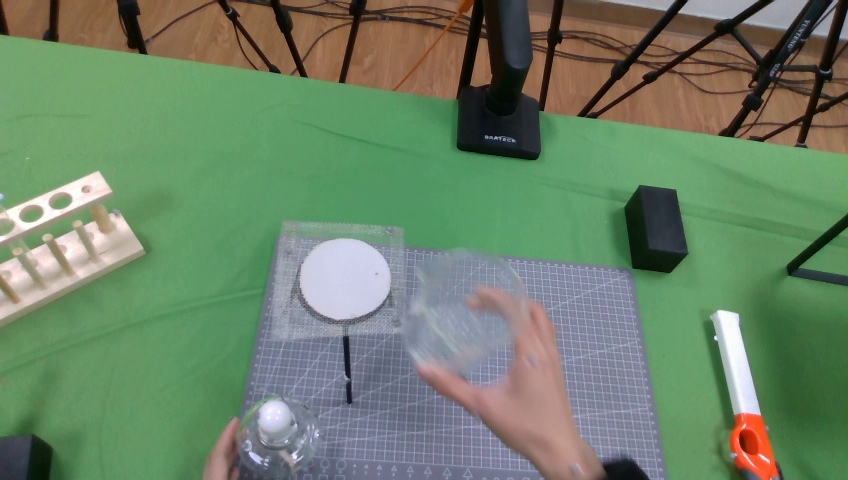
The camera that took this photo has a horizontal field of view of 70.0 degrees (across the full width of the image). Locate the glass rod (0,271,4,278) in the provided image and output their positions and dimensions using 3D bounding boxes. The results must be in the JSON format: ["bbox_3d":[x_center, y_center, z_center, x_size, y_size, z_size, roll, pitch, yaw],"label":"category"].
[{"bbox_3d":[-0.454,-0.022,0.575,0.008,0.201,0.008,1,52,-1],"label":"glass rod"}]

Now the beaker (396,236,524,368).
[{"bbox_3d":[0.018,0.049,0.447,0.084,0.101,0.073,30,62,3],"label":"beaker"}]

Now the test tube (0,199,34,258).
[{"bbox_3d":[-0.423,-0.026,0.603,0.017,0.151,0.017,5,53,-6],"label":"test tube"}]

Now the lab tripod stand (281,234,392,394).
[{"bbox_3d":[-0.084,0.069,0.623,0.149,0.132,0.147,5,59,-8],"label":"lab tripod stand"}]

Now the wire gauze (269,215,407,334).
[{"bbox_3d":[-0.079,0.030,0.569,0.122,0.011,0.124,2,60,-9],"label":"wire gauze"}]

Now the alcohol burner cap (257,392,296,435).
[{"bbox_3d":[-0.132,0.151,0.534,0.034,0.048,0.033,3,63,-6],"label":"alcohol burner cap"}]

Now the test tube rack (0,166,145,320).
[{"bbox_3d":[-0.432,0.022,0.630,0.242,0.086,0.066,-32,68,-25],"label":"test tube rack"}]

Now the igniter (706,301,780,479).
[{"bbox_3d":[0.359,0.197,0.679,0.057,0.025,0.274,13,57,-14],"label":"igniter"}]

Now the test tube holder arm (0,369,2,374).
[{"bbox_3d":[-0.402,0.153,0.537,0.010,0.015,0.087,8,57,-3],"label":"test tube holder arm"}]

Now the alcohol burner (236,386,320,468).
[{"bbox_3d":[-0.136,0.169,0.565,0.078,0.120,0.077,5,57,-7],"label":"alcohol burner"}]
